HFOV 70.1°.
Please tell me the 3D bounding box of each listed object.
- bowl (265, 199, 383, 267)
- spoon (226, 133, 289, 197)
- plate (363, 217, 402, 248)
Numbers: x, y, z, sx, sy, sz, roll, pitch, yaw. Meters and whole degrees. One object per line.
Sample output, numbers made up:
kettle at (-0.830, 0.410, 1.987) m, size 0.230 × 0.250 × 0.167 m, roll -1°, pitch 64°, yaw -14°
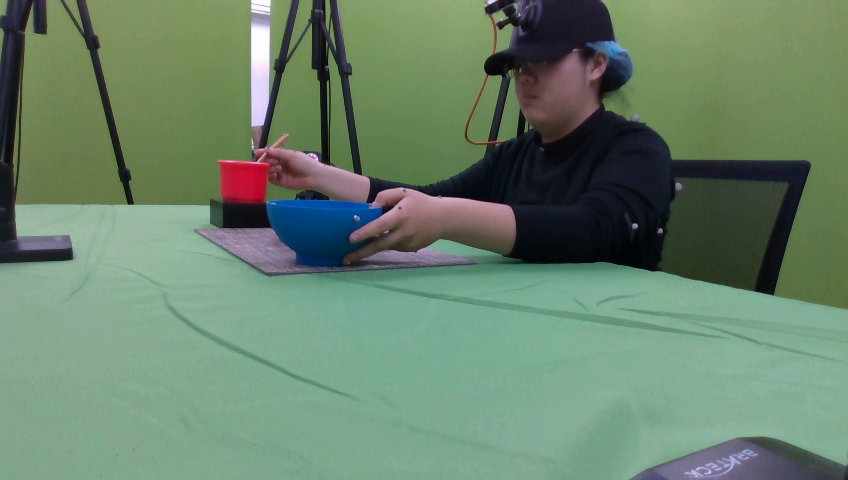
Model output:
bowl at (-0.130, -0.009, 0.788) m, size 0.151 × 0.077 × 0.151 m, roll 3°, pitch 7°, yaw 0°
spoon at (-0.322, -0.150, 1.188) m, size 0.041 × 0.022 × 0.194 m, roll 6°, pitch 53°, yaw 36°
plate at (-0.140, -0.015, 0.993) m, size 0.208 × 0.039 × 0.207 m, roll 3°, pitch 8°, yaw 0°
